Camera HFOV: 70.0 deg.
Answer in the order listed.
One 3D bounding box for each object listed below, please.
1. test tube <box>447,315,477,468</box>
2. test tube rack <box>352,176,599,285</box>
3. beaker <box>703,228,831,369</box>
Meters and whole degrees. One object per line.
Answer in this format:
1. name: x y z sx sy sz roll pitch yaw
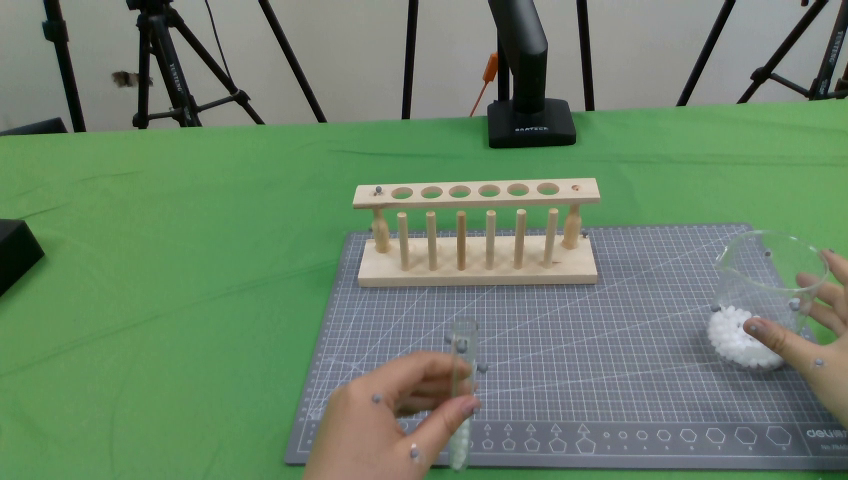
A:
1. test tube: 0.024 0.104 0.391 0.017 0.151 0.017 0 41 1
2. test tube rack: 0.051 -0.008 0.618 0.242 0.086 0.066 -1 39 5
3. beaker: 0.276 0.052 0.505 0.084 0.101 0.073 -1 38 7
